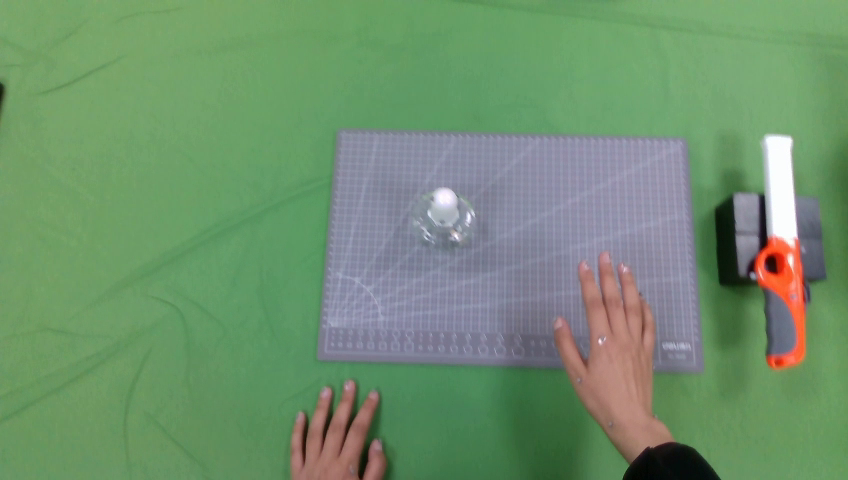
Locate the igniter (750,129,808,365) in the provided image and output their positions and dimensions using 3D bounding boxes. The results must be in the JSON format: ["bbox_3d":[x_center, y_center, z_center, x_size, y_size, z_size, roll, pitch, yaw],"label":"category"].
[{"bbox_3d":[0.397,0.003,0.682,0.057,0.025,0.275,5,74,5],"label":"igniter"}]

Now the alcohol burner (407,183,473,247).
[{"bbox_3d":[0.019,-0.034,0.693,0.078,0.119,0.077,0,74,-1],"label":"alcohol burner"}]

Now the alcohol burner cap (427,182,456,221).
[{"bbox_3d":[0.019,-0.044,0.659,0.034,0.048,0.033,-1,68,2],"label":"alcohol burner cap"}]
